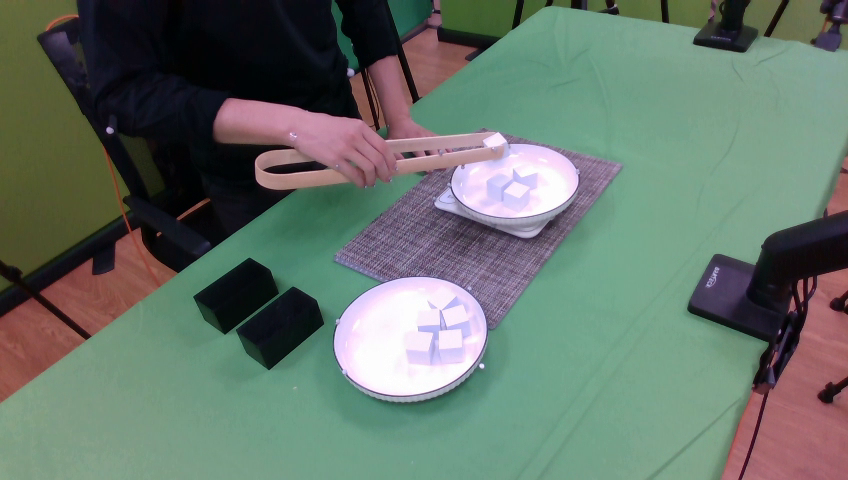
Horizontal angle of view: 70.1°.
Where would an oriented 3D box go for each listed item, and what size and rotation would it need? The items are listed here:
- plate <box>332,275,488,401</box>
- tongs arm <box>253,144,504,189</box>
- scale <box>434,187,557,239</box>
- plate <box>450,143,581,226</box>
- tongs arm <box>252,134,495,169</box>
[{"bbox_3d":[-0.017,0.131,0.808,0.207,0.039,0.206,-4,41,4],"label":"plate"},{"bbox_3d":[-0.053,-0.118,0.893,0.387,0.026,0.050,-13,48,-26],"label":"tongs arm"},{"bbox_3d":[0.132,-0.074,1.025,0.199,0.032,0.149,22,48,30],"label":"scale"},{"bbox_3d":[0.148,-0.087,0.986,0.209,0.038,0.208,-4,41,4],"label":"plate"},{"bbox_3d":[-0.062,-0.133,0.907,0.390,0.028,0.028,-9,50,-23],"label":"tongs arm"}]
